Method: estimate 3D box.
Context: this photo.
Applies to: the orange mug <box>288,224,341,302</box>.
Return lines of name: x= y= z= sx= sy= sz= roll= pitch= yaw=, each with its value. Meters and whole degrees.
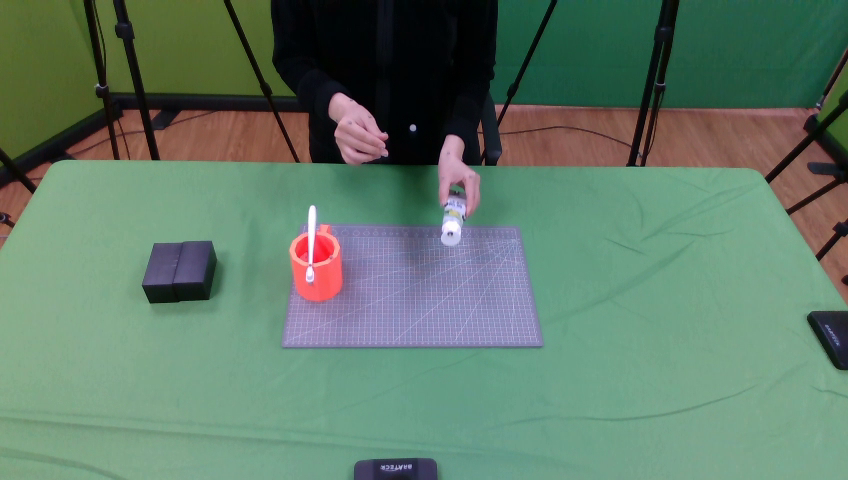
orange mug: x=-0.192 y=0.034 z=1.094 sx=0.083 sy=0.101 sz=0.125 roll=7 pitch=50 yaw=2

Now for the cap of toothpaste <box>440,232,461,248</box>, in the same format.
cap of toothpaste: x=0.046 y=-0.002 z=1.064 sx=0.037 sy=0.037 sz=0.011 roll=-1 pitch=43 yaw=-5

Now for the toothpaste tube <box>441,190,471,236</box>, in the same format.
toothpaste tube: x=0.057 y=-0.047 z=1.131 sx=0.055 sy=0.034 sz=0.164 roll=16 pitch=35 yaw=-4

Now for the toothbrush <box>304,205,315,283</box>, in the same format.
toothbrush: x=-0.199 y=0.001 z=1.052 sx=0.014 sy=0.017 sz=0.180 roll=-5 pitch=46 yaw=-3
